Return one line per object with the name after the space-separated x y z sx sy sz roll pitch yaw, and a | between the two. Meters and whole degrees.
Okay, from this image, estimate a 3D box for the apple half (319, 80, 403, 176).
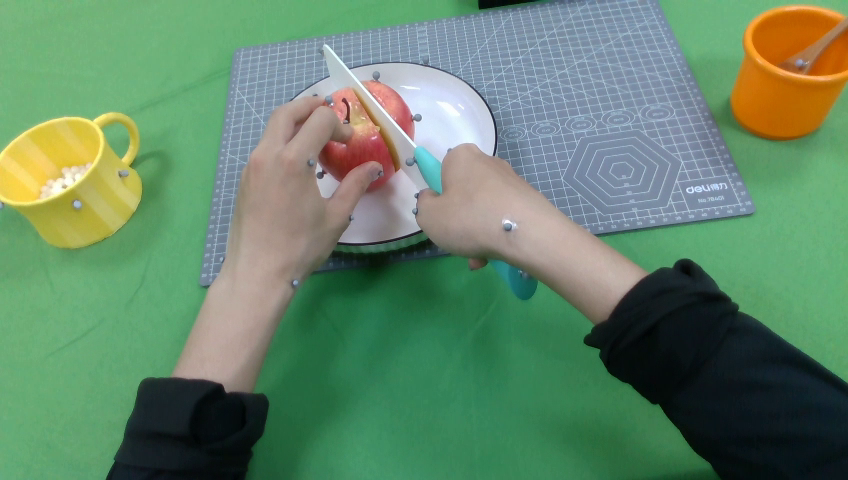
-0.054 -0.083 0.500 0.080 0.075 0.053 40 86 18 | apple half

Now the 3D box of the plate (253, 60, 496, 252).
-0.042 -0.073 0.527 0.209 0.038 0.207 -3 57 6 | plate

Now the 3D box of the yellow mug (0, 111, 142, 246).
-0.308 -0.065 0.546 0.099 0.064 0.130 23 62 21 | yellow mug

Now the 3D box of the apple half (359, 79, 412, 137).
-0.030 -0.100 0.511 0.033 0.082 0.080 -29 57 -17 | apple half

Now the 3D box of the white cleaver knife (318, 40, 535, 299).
-0.008 -0.061 0.462 0.021 0.066 0.283 -31 59 -12 | white cleaver knife

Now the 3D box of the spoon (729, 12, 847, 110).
0.332 -0.170 0.474 0.022 0.194 0.041 18 45 -33 | spoon
